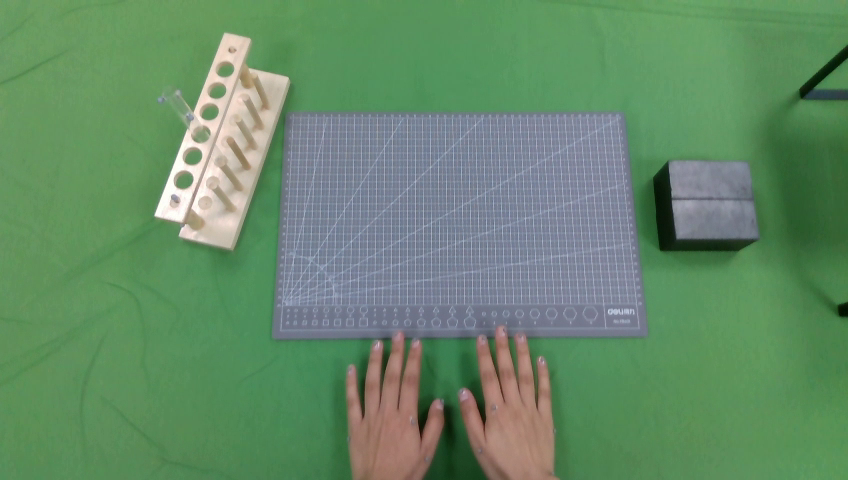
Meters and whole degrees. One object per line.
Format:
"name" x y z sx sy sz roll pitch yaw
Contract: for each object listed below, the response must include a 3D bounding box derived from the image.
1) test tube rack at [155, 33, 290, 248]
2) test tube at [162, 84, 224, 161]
"test tube rack" -0.240 -0.121 0.743 0.067 0.085 0.241 13 74 3
"test tube" -0.260 -0.129 0.694 0.017 0.151 0.017 -1 70 2
